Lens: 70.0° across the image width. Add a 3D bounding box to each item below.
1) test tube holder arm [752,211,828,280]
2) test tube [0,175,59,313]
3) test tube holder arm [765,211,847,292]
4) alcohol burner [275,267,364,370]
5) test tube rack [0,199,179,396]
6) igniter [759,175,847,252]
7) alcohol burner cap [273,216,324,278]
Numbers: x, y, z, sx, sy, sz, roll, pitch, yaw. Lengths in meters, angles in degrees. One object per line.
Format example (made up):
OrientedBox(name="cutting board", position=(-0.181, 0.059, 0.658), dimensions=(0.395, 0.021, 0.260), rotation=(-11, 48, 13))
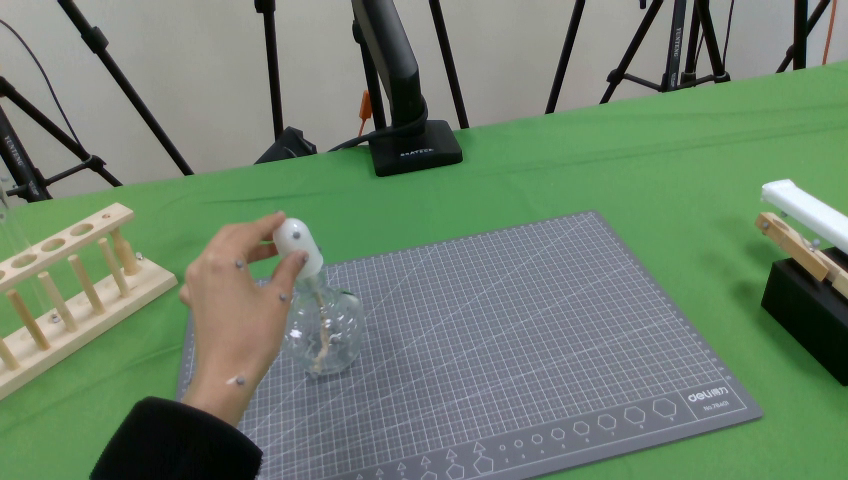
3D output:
OrientedBox(name="test tube holder arm", position=(0.315, 0.003, 0.520), dimensions=(0.010, 0.015, 0.087), rotation=(-9, 36, -10))
OrientedBox(name="test tube", position=(-0.375, 0.006, 0.567), dimensions=(0.017, 0.151, 0.017), rotation=(-4, 30, 3))
OrientedBox(name="test tube holder arm", position=(0.331, 0.027, 0.485), dimensions=(0.013, 0.015, 0.176), rotation=(-10, 36, -11))
OrientedBox(name="alcohol burner", position=(-0.091, 0.054, 0.513), dimensions=(0.078, 0.120, 0.077), rotation=(-3, 38, 3))
OrientedBox(name="test tube rack", position=(-0.368, 0.062, 0.576), dimensions=(0.066, 0.086, 0.242), rotation=(22, 45, 32))
OrientedBox(name="igniter", position=(0.373, 0.016, 0.487), dimensions=(0.057, 0.025, 0.273), rotation=(-13, 34, -6))
OrientedBox(name="alcohol burner cap", position=(-0.100, 0.003, 0.474), dimensions=(0.034, 0.048, 0.033), rotation=(-6, 42, 6))
